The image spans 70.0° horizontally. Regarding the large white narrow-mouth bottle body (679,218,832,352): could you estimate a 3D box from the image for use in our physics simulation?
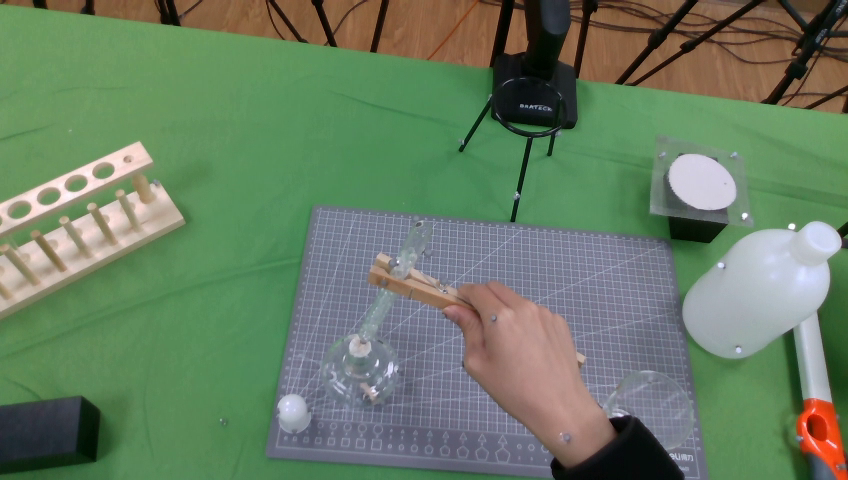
[{"bbox_3d":[0.353,0.041,0.636,0.102,0.196,0.101,2,59,-3],"label":"large white narrow-mouth bottle body"}]

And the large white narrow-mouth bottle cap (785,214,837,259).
[{"bbox_3d":[0.359,-0.003,0.564,0.038,0.024,0.037,2,60,-4],"label":"large white narrow-mouth bottle cap"}]

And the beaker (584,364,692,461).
[{"bbox_3d":[0.202,0.174,0.596,0.084,0.101,0.073,2,59,-3],"label":"beaker"}]

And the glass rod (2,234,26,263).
[{"bbox_3d":[-0.428,-0.037,0.587,0.008,0.201,0.008,4,50,-5],"label":"glass rod"}]

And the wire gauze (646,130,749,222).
[{"bbox_3d":[0.339,-0.079,0.755,0.121,0.011,0.124,12,59,1],"label":"wire gauze"}]

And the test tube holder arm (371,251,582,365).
[{"bbox_3d":[0.040,0.052,0.472,0.178,0.015,0.013,25,46,4],"label":"test tube holder arm"}]

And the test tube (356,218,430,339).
[{"bbox_3d":[-0.028,0.036,0.483,0.017,0.151,0.017,14,45,-15],"label":"test tube"}]

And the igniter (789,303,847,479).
[{"bbox_3d":[0.428,0.180,0.661,0.057,0.025,0.274,17,59,-8],"label":"igniter"}]

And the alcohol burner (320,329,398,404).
[{"bbox_3d":[-0.063,0.118,0.593,0.078,0.120,0.077,4,59,-6],"label":"alcohol burner"}]

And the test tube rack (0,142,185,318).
[{"bbox_3d":[-0.395,-0.006,0.649,0.242,0.086,0.066,-32,68,-22],"label":"test tube rack"}]

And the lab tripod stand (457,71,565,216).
[{"bbox_3d":[0.113,-0.124,0.742,0.148,0.132,0.147,3,61,-6],"label":"lab tripod stand"}]

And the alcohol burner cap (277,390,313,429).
[{"bbox_3d":[-0.129,0.166,0.599,0.034,0.048,0.033,2,62,-3],"label":"alcohol burner cap"}]

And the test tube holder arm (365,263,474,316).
[{"bbox_3d":[-0.003,0.039,0.470,0.088,0.015,0.010,19,45,-1],"label":"test tube holder arm"}]
